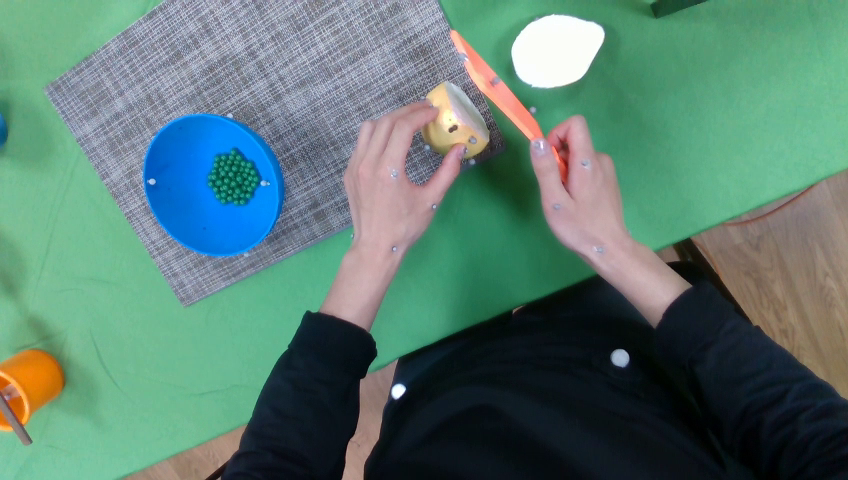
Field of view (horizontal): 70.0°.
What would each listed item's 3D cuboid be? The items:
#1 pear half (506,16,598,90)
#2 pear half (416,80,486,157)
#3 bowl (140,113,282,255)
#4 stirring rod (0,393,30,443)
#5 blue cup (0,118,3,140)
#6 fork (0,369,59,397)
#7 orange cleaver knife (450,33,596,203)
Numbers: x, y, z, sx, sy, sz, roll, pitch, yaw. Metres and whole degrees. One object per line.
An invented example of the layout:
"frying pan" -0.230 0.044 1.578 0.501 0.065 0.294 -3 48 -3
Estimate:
"pear half" 0.124 -0.181 0.589 0.088 0.031 0.070 -20 89 6
"pear half" 0.021 -0.109 0.586 0.076 0.109 0.056 45 107 -5
"bowl" -0.217 -0.066 0.660 0.151 0.076 0.152 3 108 10
"stirring rod" -0.548 0.183 0.762 0.014 0.006 0.177 -21 103 14
"blue cup" -0.545 -0.126 0.689 0.092 0.100 0.093 2 108 8
"fork" -0.589 0.210 0.780 0.208 0.018 0.028 -18 119 -30
"orange cleaver knife" 0.093 -0.104 0.543 0.012 0.076 0.213 -36 132 22
